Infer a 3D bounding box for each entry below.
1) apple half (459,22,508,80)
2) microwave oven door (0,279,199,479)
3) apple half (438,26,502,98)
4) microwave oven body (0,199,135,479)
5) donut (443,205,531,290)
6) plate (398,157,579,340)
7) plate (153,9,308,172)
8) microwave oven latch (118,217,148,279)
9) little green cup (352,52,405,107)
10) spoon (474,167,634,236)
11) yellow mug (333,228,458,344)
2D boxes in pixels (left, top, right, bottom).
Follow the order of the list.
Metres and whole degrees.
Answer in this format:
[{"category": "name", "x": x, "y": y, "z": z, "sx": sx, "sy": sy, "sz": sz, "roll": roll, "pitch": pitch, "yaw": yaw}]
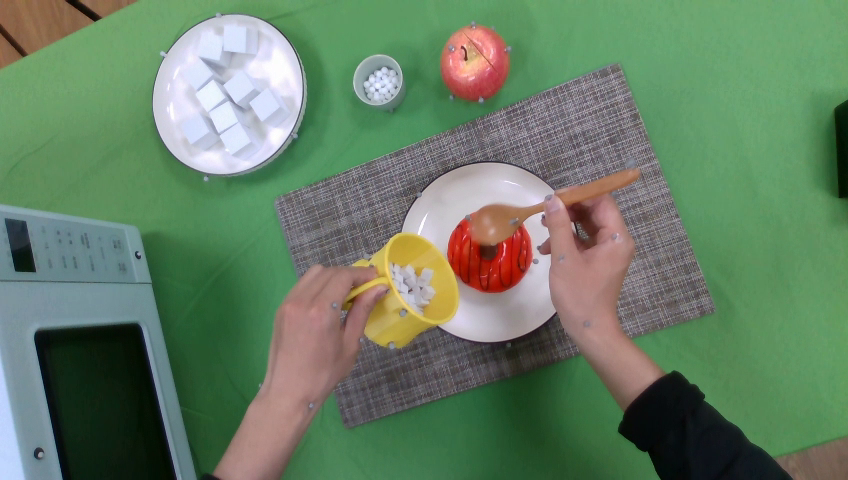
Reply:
[{"category": "apple half", "x": 0.076, "y": -0.222, "z": 0.696, "sx": 0.033, "sy": 0.081, "sz": 0.081, "roll": -41, "pitch": 80, "yaw": 10}, {"category": "microwave oven door", "x": -0.341, "y": 0.215, "z": 0.649, "sx": 0.039, "sy": 0.244, "sz": 0.354, "roll": -17, "pitch": 83, "yaw": 10}, {"category": "apple half", "x": 0.047, "y": -0.197, "z": 0.701, "sx": 0.053, "sy": 0.075, "sz": 0.080, "roll": -41, "pitch": 84, "yaw": 11}, {"category": "microwave oven body", "x": -0.489, "y": 0.216, "z": 0.683, "sx": 0.326, "sy": 0.261, "sz": 0.440, "roll": -17, "pitch": 84, "yaw": 9}, {"category": "donut", "x": 0.071, "y": 0.008, "z": 0.687, "sx": 0.099, "sy": 0.048, "sz": 0.099, "roll": 0, "pitch": 89, "yaw": 12}, {"category": "plate", "x": 0.072, "y": 0.009, "z": 0.698, "sx": 0.209, "sy": 0.038, "sz": 0.208, "roll": -1, "pitch": 87, "yaw": 11}, {"category": "plate", "x": -0.243, "y": -0.187, "z": 0.775, "sx": 0.207, "sy": 0.039, "sz": 0.207, "roll": -1, "pitch": 87, "yaw": 11}, {"category": "microwave oven latch", "x": -0.378, "y": 0.011, "z": 0.771, "sx": 0.030, "sy": 0.029, "sz": 0.079, "roll": -15, "pitch": 85, "yaw": 9}, {"category": "little green cup", "x": -0.053, "y": -0.193, "z": 0.738, "sx": 0.061, "sy": 0.039, "sz": 0.061, "roll": -1, "pitch": 86, "yaw": 12}, {"category": "spoon", "x": 0.110, "y": -0.034, "z": 0.554, "sx": 0.022, "sy": 0.193, "sz": 0.041, "roll": -20, "pitch": 93, "yaw": -32}, {"category": "yellow mug", "x": -0.033, "y": 0.047, "z": 0.593, "sx": 0.064, "sy": 0.131, "sz": 0.099, "roll": -33, "pitch": 71, "yaw": 35}]
